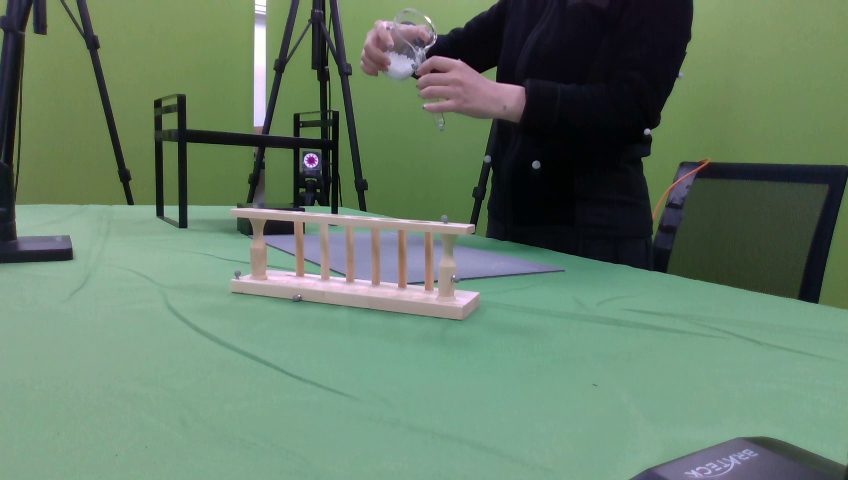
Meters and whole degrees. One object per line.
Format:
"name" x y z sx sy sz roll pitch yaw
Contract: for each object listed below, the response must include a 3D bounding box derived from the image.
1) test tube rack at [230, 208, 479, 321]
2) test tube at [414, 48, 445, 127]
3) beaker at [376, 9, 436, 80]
"test tube rack" -0.069 0.017 0.598 0.242 0.085 0.067 5 8 18
"test tube" 0.009 -0.235 0.929 0.017 0.150 0.017 -12 -25 -5
"beaker" -0.033 -0.320 1.011 0.074 0.084 0.100 -2 -19 -27
